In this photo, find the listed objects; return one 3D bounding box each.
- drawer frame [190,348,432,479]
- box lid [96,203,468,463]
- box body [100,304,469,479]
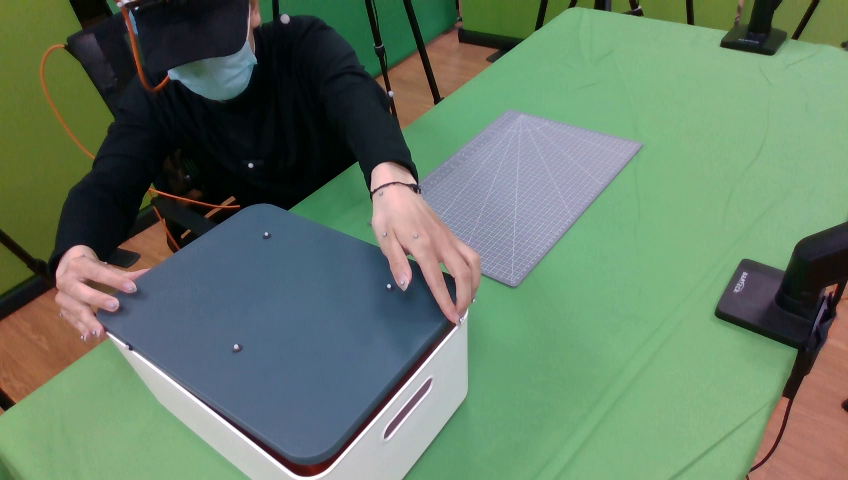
[{"bbox_3d":[-0.129,0.168,0.738,0.200,0.083,0.214,19,48,27],"label":"drawer frame"},{"bbox_3d":[-0.165,0.071,0.681,0.368,0.015,0.264,21,45,30],"label":"box lid"},{"bbox_3d":[-0.151,0.140,0.721,0.361,0.161,0.255,23,49,30],"label":"box body"}]
